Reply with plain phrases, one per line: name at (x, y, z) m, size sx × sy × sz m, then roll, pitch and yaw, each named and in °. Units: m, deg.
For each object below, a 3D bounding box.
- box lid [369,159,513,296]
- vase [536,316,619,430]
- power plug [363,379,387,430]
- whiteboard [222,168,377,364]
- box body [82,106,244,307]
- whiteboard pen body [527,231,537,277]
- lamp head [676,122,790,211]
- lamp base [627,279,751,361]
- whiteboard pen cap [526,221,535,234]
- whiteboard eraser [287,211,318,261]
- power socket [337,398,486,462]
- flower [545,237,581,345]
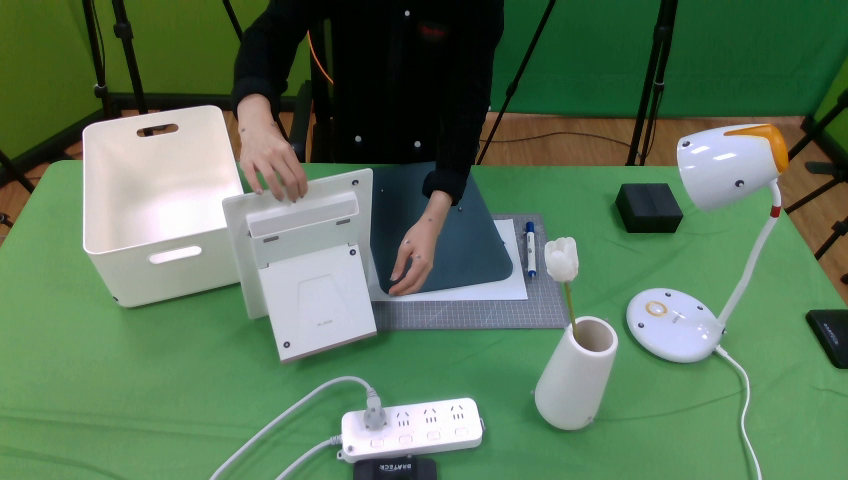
box lid at (0.009, -0.040, 1.242) m, size 0.264 × 0.015 × 0.369 m, roll -8°, pitch 47°, yaw -12°
vase at (0.229, 0.200, 0.901) m, size 0.098 × 0.201 × 0.097 m, roll 3°, pitch 46°, yaw -3°
power plug at (-0.071, 0.252, 0.911) m, size 0.035 × 0.053 × 0.072 m, roll 3°, pitch 40°, yaw 0°
whiteboard at (-0.166, 0.062, 0.931) m, size 0.217 × 0.307 × 0.143 m, roll -14°, pitch 55°, yaw -18°
box body at (-0.471, -0.071, 1.131) m, size 0.254 × 0.161 × 0.361 m, roll -14°, pitch 49°, yaw -17°
whiteboard pen body at (0.211, 0.018, 1.191) m, size 0.017 × 0.017 × 0.140 m, roll 6°, pitch 44°, yaw 2°
lamp head at (0.423, -0.104, 0.819) m, size 0.122 × 0.113 × 0.112 m, roll -13°, pitch 33°, yaw 40°
lamp base at (0.460, 0.100, 1.027) m, size 0.178 × 0.181 × 0.160 m, roll 27°, pitch 51°, yaw 17°
whiteboard pen cap at (0.216, -0.022, 1.234) m, size 0.018 × 0.018 × 0.033 m, roll 6°, pitch 44°, yaw 1°
whiteboard eraser at (-0.234, -0.007, 1.173) m, size 0.055 × 0.042 × 0.112 m, roll -4°, pitch 46°, yaw -5°
power socket at (-0.018, 0.285, 0.914) m, size 0.227 × 0.033 × 0.071 m, roll -4°, pitch 46°, yaw -8°
flower at (0.213, 0.137, 0.846) m, size 0.038 × 0.364 × 0.044 m, roll 21°, pitch 55°, yaw 40°
